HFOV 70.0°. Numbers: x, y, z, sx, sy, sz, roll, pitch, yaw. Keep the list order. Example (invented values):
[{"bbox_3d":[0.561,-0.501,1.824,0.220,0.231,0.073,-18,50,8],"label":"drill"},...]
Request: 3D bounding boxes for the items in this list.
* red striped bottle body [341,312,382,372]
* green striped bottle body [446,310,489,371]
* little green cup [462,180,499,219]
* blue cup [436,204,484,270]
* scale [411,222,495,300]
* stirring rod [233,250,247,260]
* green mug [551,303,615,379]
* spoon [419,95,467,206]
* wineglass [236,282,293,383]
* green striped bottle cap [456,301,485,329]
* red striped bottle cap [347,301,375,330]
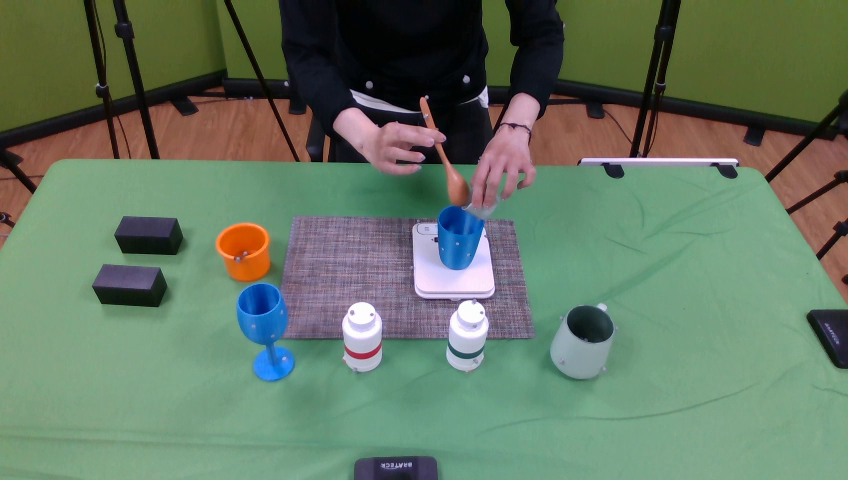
[{"bbox_3d":[-0.100,0.154,0.972,0.063,0.120,0.062,1,46,-1],"label":"red striped bottle body"},{"bbox_3d":[0.071,0.155,0.984,0.063,0.120,0.063,2,46,-2],"label":"green striped bottle body"},{"bbox_3d":[0.096,-0.066,1.024,0.039,0.061,0.061,33,46,-10],"label":"little green cup"},{"bbox_3d":[0.061,-0.001,1.099,0.093,0.101,0.092,2,43,-2],"label":"blue cup"},{"bbox_3d":[0.052,0.031,1.158,0.149,0.032,0.199,1,46,-4],"label":"scale"},{"bbox_3d":[-0.323,0.026,1.067,0.014,0.006,0.176,-8,4,-13],"label":"stirring rod"},{"bbox_3d":[0.271,0.158,1.007,0.092,0.105,0.125,27,50,21],"label":"green mug"},{"bbox_3d":[0.027,-0.145,1.000,0.041,0.194,0.021,-29,16,-18],"label":"spoon"},{"bbox_3d":[-0.243,0.143,0.934,0.074,0.173,0.073,2,46,-2],"label":"wineglass"},{"bbox_3d":[0.073,0.116,0.943,0.044,0.020,0.044,4,46,-3],"label":"green striped bottle cap"},{"bbox_3d":[-0.097,0.116,0.934,0.044,0.018,0.044,2,49,-2],"label":"red striped bottle cap"}]
